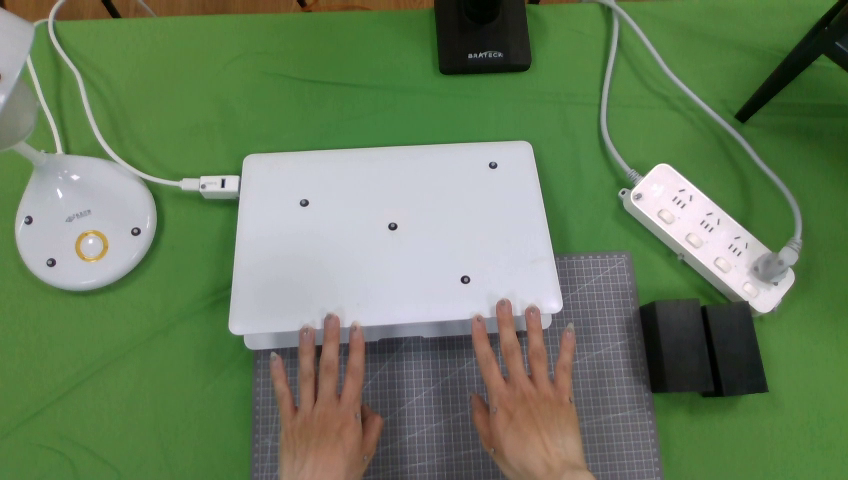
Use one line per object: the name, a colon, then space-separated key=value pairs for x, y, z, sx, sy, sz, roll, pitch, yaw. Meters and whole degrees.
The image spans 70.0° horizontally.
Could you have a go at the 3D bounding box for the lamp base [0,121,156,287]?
lamp base: x=-0.402 y=-0.053 z=0.639 sx=0.160 sy=0.181 sz=0.178 roll=-34 pitch=76 yaw=-10

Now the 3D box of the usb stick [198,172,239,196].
usb stick: x=-0.235 y=-0.066 z=0.720 sx=0.059 sy=0.027 sz=0.021 roll=0 pitch=70 yaw=-5

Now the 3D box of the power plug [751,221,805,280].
power plug: x=0.411 y=0.018 z=0.700 sx=0.072 sy=0.053 sz=0.035 roll=-34 pitch=78 yaw=-11

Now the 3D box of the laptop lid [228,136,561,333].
laptop lid: x=-0.037 y=-0.017 z=0.684 sx=0.357 sy=0.013 sz=0.239 roll=-2 pitch=62 yaw=-2

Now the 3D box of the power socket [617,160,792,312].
power socket: x=0.337 y=-0.006 z=0.728 sx=0.226 sy=0.033 sz=0.072 roll=44 pitch=78 yaw=9

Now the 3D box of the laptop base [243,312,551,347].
laptop base: x=-0.037 y=-0.002 z=0.723 sx=0.355 sy=0.023 sz=0.234 roll=-4 pitch=78 yaw=-3

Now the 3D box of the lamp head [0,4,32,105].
lamp head: x=-0.326 y=-0.118 z=0.366 sx=0.124 sy=0.112 sz=0.112 roll=27 pitch=71 yaw=-38

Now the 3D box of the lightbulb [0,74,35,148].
lightbulb: x=-0.306 y=-0.100 z=0.383 sx=0.059 sy=0.109 sz=0.059 roll=-21 pitch=53 yaw=30
